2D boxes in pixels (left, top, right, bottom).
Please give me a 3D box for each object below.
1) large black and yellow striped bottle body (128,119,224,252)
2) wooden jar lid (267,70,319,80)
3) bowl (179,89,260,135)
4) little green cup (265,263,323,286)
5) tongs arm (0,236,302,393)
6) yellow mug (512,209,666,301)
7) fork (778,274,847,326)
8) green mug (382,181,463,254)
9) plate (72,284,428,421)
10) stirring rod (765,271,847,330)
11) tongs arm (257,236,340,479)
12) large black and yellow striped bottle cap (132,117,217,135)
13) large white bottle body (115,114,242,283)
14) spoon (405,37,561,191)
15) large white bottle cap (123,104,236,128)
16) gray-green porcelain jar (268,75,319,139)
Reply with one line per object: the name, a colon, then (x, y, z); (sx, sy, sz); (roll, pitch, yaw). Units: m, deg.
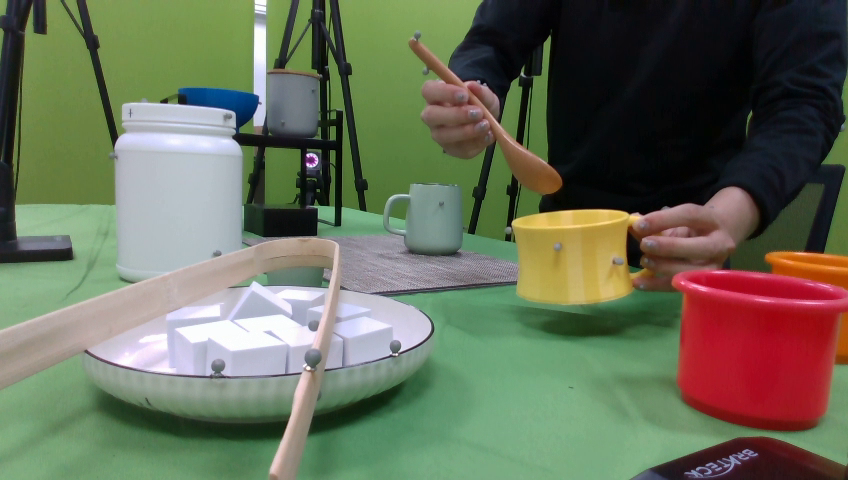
large black and yellow striped bottle body: (-0.361, -0.081, 0.887); (0.131, 0.184, 0.130); (2, 8, 0)
wooden jar lid: (-0.275, -0.339, 1.271); (0.108, 0.020, 0.108); (5, 6, 0)
bowl: (-0.400, -0.248, 1.188); (0.151, 0.077, 0.151); (3, 7, 0)
little green cup: (-0.134, 0.033, 0.628); (0.061, 0.038, 0.061); (3, 8, 0)
tongs arm: (-0.157, 0.038, 0.347); (0.028, 0.028, 0.388); (-3, 8, 12)
yellow mug: (0.143, 0.009, 0.525); (0.131, 0.064, 0.100); (-4, 8, 3)
fork: (0.332, 0.018, 0.443); (0.028, 0.018, 0.207); (-4, -35, -16)
green mug: (-0.001, -0.036, 0.922); (0.126, 0.105, 0.092); (0, 8, -16)
plate: (-0.102, 0.067, 0.381); (0.208, 0.039, 0.207); (3, 7, 0)
stirring rod: (0.352, 0.020, 0.481); (0.176, 0.006, 0.014); (-40, -7, 17)
tongs arm: (-0.074, 0.040, 0.345); (0.051, 0.026, 0.384); (-1, 10, -3)
large black and yellow striped bottle cap: (-0.359, -0.164, 0.875); (0.115, 0.019, 0.115); (2, 6, 0)
large white bottle body: (-0.270, -0.051, 0.673); (0.131, 0.184, 0.130); (2, 8, 0)
spoon: (0.053, -0.115, 0.555); (0.022, 0.193, 0.041); (-42, -1, -30)
large white bottle cap: (-0.266, -0.135, 0.663); (0.115, 0.018, 0.115); (3, 7, 0)
gray-green porcelain jar: (-0.277, -0.279, 1.280); (0.106, 0.126, 0.106); (2, 8, 0)
